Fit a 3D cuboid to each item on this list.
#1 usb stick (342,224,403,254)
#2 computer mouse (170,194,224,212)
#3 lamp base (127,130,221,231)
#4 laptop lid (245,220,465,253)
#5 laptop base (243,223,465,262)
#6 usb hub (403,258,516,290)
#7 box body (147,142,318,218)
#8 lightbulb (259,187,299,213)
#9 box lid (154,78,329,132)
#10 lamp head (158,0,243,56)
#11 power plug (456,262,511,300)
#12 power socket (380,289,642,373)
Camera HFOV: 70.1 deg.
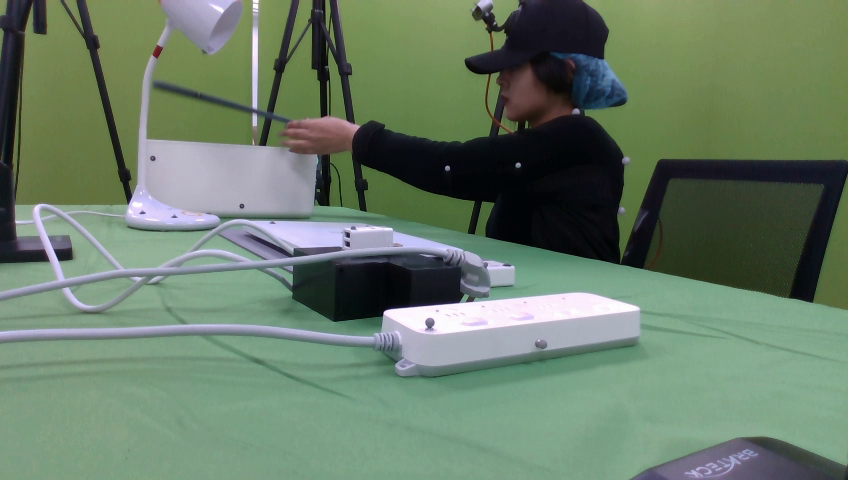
[{"bbox_3d":[-0.047,-0.001,0.567,0.059,0.027,0.021,0,5,-32],"label":"usb stick"},{"bbox_3d":[-0.519,-0.084,1.384,0.118,0.041,0.062,5,3,-25],"label":"computer mouse"},{"bbox_3d":[-0.469,-0.112,1.108,0.179,0.180,0.160,0,7,3],"label":"lamp base"},{"bbox_3d":[-0.124,-0.009,0.945,0.243,0.013,0.355,1,7,-29],"label":"laptop lid"},{"bbox_3d":[-0.126,0.003,0.946,0.237,0.023,0.352,2,6,-31],"label":"laptop base"},{"bbox_3d":[0.042,0.038,0.690,0.126,0.025,0.049,-2,10,-30],"label":"usb hub"},{"bbox_3d":[-0.450,-0.139,1.406,0.366,0.160,0.253,-1,8,-24],"label":"box body"},{"bbox_3d":[-0.349,-0.091,1.471,0.059,0.059,0.108,9,-10,45],"label":"lightbulb"},{"bbox_3d":[-0.419,-0.305,1.383,0.373,0.015,0.262,12,7,-24],"label":"box lid"},{"bbox_3d":[-0.399,-0.397,1.057,0.123,0.112,0.112,27,5,-7],"label":"lamp head"},{"bbox_3d":[0.051,0.050,0.543,0.035,0.052,0.072,7,37,-20],"label":"power plug"},{"bbox_3d":[0.072,0.064,0.461,0.228,0.032,0.072,-2,8,-30],"label":"power socket"}]
